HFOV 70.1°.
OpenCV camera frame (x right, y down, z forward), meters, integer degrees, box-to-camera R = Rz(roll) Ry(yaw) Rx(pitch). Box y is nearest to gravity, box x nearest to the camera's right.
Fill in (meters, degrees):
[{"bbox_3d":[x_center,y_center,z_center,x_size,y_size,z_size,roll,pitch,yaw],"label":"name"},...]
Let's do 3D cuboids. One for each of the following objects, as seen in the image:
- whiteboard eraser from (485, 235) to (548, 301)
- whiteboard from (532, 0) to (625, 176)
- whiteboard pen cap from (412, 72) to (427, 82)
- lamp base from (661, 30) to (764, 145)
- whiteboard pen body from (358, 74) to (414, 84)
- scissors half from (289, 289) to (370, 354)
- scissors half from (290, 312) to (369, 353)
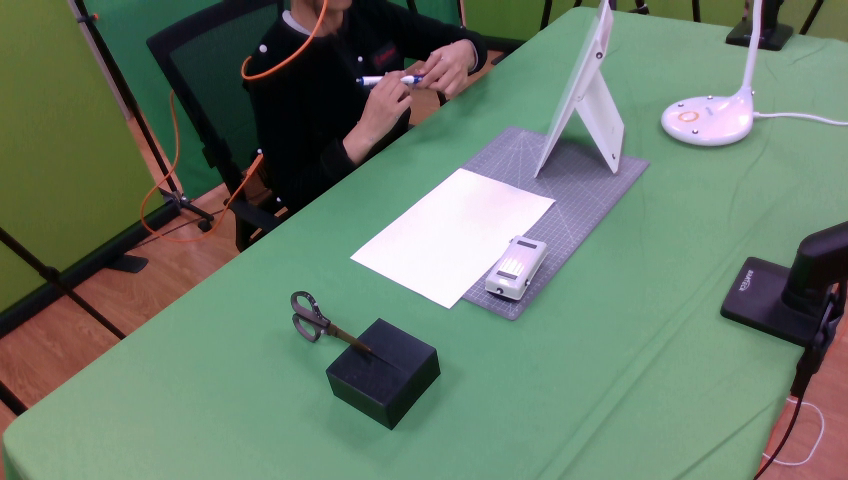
[{"bbox_3d":[0.137,0.042,0.887,0.055,0.042,0.113,15,46,27],"label":"whiteboard eraser"},{"bbox_3d":[0.320,-0.259,1.050,0.144,0.306,0.217,21,45,5],"label":"whiteboard"},{"bbox_3d":[-0.012,-0.331,1.233,0.033,0.018,0.018,-18,40,-27],"label":"whiteboard pen cap"},{"bbox_3d":[0.535,-0.287,1.096,0.179,0.181,0.159,-10,40,-4],"label":"lamp base"},{"bbox_3d":[-0.065,-0.322,1.206,0.142,0.017,0.017,-10,37,-27],"label":"whiteboard pen body"},{"bbox_3d":[-0.128,0.110,0.808,0.013,0.040,0.173,-17,35,-43],"label":"scissors half"},{"bbox_3d":[-0.128,0.129,0.816,0.013,0.040,0.173,-23,21,-40],"label":"scissors half"}]
